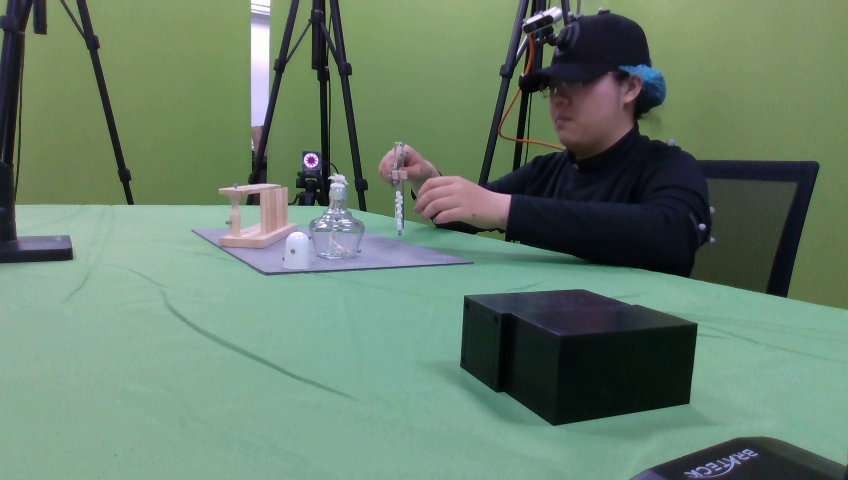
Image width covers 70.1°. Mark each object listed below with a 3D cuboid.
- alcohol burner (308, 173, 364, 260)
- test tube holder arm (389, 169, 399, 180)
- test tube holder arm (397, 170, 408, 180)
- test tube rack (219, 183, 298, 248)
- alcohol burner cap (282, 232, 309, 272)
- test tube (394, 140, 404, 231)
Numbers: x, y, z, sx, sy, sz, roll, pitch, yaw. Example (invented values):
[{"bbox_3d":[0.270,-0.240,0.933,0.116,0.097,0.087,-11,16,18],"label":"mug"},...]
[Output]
[{"bbox_3d":[-0.121,-0.033,0.841,0.078,0.119,0.078,3,5,0],"label":"alcohol burner"},{"bbox_3d":[-0.053,-0.117,1.067,0.013,0.015,0.178,6,7,-7],"label":"test tube holder arm"},{"bbox_3d":[-0.041,-0.110,1.024,0.010,0.015,0.087,5,7,-14],"label":"test tube holder arm"},{"bbox_3d":[-0.266,-0.046,1.002,0.067,0.085,0.242,3,7,0],"label":"test tube rack"},{"bbox_3d":[-0.157,0.014,0.740,0.034,0.048,0.034,2,6,0],"label":"alcohol burner cap"},{"bbox_3d":[-0.041,-0.089,1.003,0.017,0.150,0.017,0,8,0],"label":"test tube"}]
